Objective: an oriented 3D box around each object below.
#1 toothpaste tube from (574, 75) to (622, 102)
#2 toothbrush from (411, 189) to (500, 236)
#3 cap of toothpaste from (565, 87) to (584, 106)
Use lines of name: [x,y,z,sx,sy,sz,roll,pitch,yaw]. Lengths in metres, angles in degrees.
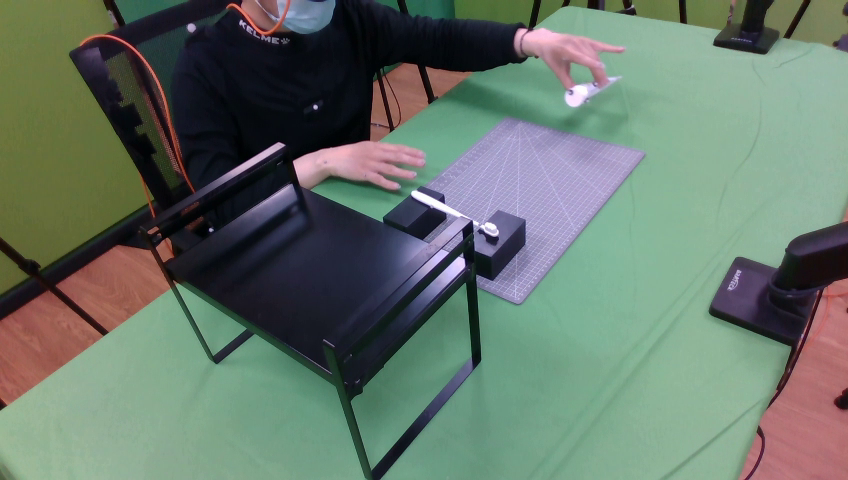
toothpaste tube: [0.326,-0.296,1.164,0.054,0.034,0.166,6,29,38]
toothbrush: [0.044,-0.046,0.940,0.180,0.017,0.014,28,67,36]
cap of toothpaste: [0.277,-0.264,1.111,0.037,0.037,0.011,22,38,29]
